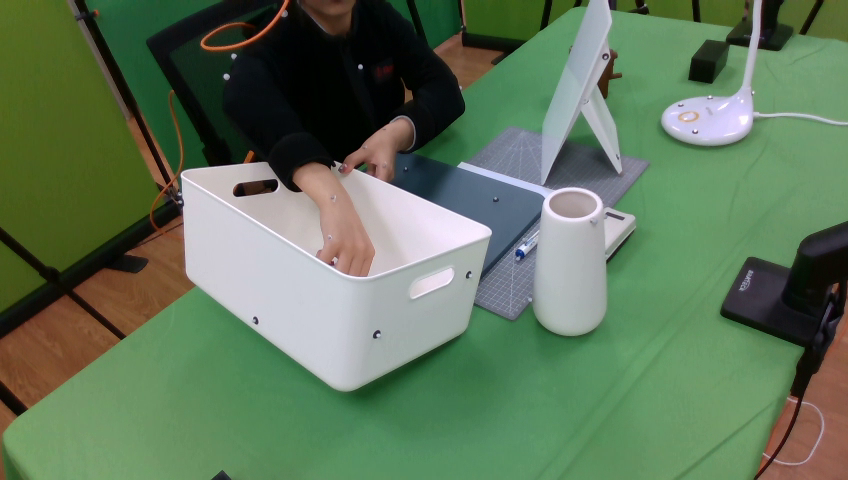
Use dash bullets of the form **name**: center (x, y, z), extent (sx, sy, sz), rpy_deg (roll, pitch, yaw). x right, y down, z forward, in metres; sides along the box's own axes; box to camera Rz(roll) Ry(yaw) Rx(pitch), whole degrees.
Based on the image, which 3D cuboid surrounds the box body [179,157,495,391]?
- **box body**: center (-0.126, 0.022, 0.814), extent (0.361, 0.160, 0.256), rpy_deg (26, 27, 34)

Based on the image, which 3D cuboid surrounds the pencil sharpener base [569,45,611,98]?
- **pencil sharpener base**: center (0.346, -0.352, 1.263), extent (0.077, 0.107, 0.061), rpy_deg (-10, 40, -1)

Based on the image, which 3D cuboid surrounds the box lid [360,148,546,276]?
- **box lid**: center (-0.002, -0.055, 1.052), extent (0.368, 0.015, 0.264), rpy_deg (23, 49, 32)

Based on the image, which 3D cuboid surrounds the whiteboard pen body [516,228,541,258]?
- **whiteboard pen body**: center (0.192, -0.015, 0.964), extent (0.017, 0.017, 0.141), rpy_deg (26, 51, 34)

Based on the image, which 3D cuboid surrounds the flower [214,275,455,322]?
- **flower**: center (-0.133, 0.074, 0.867), extent (0.361, 0.038, 0.044), rpy_deg (6, 86, 8)

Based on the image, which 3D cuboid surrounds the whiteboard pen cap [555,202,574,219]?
- **whiteboard pen cap**: center (0.230, -0.048, 0.994), extent (0.018, 0.018, 0.033), rpy_deg (27, 54, 34)

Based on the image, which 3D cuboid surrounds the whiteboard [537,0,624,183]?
- **whiteboard**: center (0.316, -0.256, 1.047), extent (0.144, 0.306, 0.216), rpy_deg (15, 42, -1)

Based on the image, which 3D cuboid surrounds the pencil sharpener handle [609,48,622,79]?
- **pencil sharpener handle**: center (0.395, -0.368, 1.254), extent (0.031, 0.068, 0.036), rpy_deg (-10, 32, -1)

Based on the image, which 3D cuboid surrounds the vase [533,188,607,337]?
- **vase**: center (0.187, 0.033, 0.771), extent (0.098, 0.201, 0.097), rpy_deg (-6, 41, 6)

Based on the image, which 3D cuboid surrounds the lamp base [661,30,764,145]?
- **lamp base**: center (0.535, -0.287, 1.096), extent (0.179, 0.181, 0.159), rpy_deg (-10, 40, -4)

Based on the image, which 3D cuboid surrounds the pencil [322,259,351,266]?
- **pencil**: center (-0.208, 0.037, 0.931), extent (0.195, 0.012, 0.012), rpy_deg (0, 37, -22)

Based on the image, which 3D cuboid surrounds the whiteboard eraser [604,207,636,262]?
- **whiteboard eraser**: center (0.272, -0.003, 0.919), extent (0.055, 0.042, 0.113), rpy_deg (27, 51, 32)
